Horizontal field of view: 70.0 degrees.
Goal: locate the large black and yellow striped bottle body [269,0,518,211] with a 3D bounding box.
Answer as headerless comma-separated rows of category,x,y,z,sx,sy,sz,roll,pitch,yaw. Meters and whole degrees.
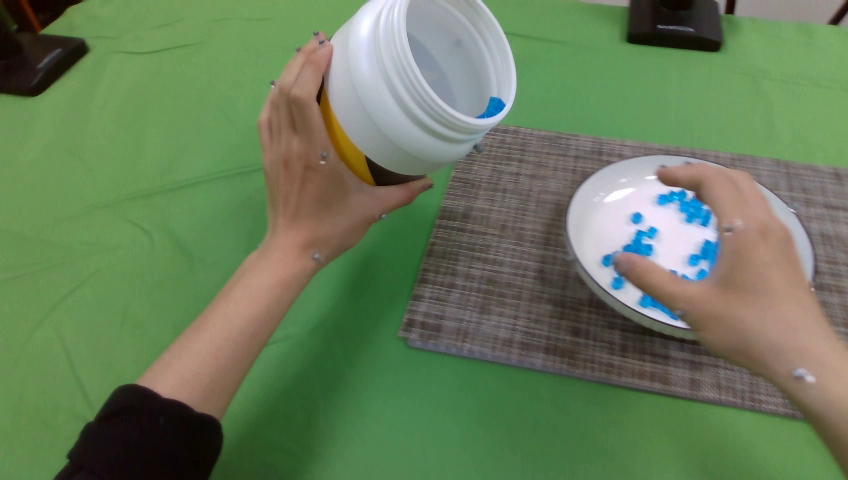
large black and yellow striped bottle body,-0.027,-0.108,0.484,0.183,0.131,0.130,-22,28,49

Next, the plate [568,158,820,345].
plate,0.232,0.008,0.538,0.207,0.039,0.205,-1,48,2
